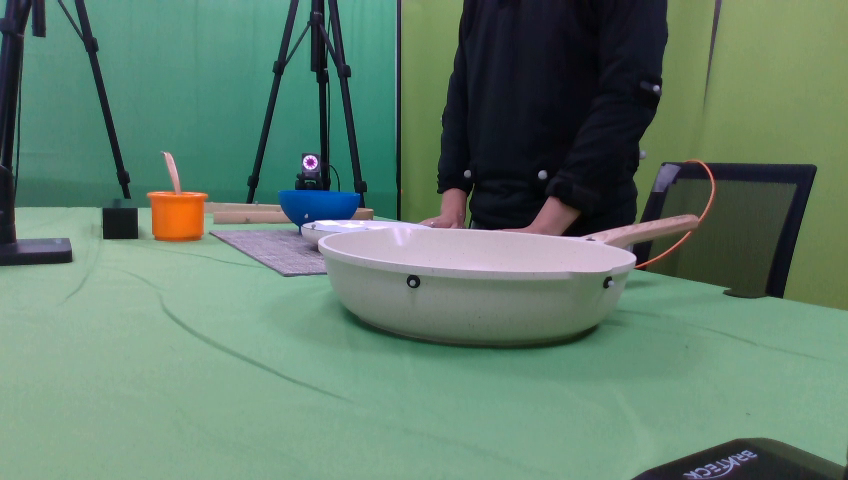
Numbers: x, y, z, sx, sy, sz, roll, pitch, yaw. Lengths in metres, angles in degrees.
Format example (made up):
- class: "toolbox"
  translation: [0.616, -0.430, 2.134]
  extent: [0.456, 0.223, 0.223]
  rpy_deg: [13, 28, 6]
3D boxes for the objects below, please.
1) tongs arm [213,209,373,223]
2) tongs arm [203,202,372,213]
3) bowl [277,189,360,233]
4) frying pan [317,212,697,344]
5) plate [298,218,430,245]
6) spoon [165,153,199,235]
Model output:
- class: "tongs arm"
  translation: [-0.274, -0.054, 1.347]
  extent: [0.390, 0.028, 0.028]
  rpy_deg: [-2, 6, -37]
- class: "tongs arm"
  translation: [-0.312, -0.068, 1.417]
  extent: [0.387, 0.026, 0.050]
  rpy_deg: [1, 8, -24]
- class: "bowl"
  translation: [-0.195, -0.052, 1.118]
  extent: [0.151, 0.077, 0.151]
  rpy_deg: [2, 7, 0]
- class: "frying pan"
  translation: [0.133, 0.013, 0.629]
  extent: [0.490, 0.102, 0.305]
  rpy_deg: [-12, 14, -31]
- class: "plate"
  translation: [-0.092, -0.006, 0.949]
  extent: [0.208, 0.039, 0.207]
  rpy_deg: [2, 7, 0]
- class: "spoon"
  translation: [-0.417, -0.081, 1.027]
  extent: [0.042, 0.193, 0.021]
  rpy_deg: [1, -37, -37]
